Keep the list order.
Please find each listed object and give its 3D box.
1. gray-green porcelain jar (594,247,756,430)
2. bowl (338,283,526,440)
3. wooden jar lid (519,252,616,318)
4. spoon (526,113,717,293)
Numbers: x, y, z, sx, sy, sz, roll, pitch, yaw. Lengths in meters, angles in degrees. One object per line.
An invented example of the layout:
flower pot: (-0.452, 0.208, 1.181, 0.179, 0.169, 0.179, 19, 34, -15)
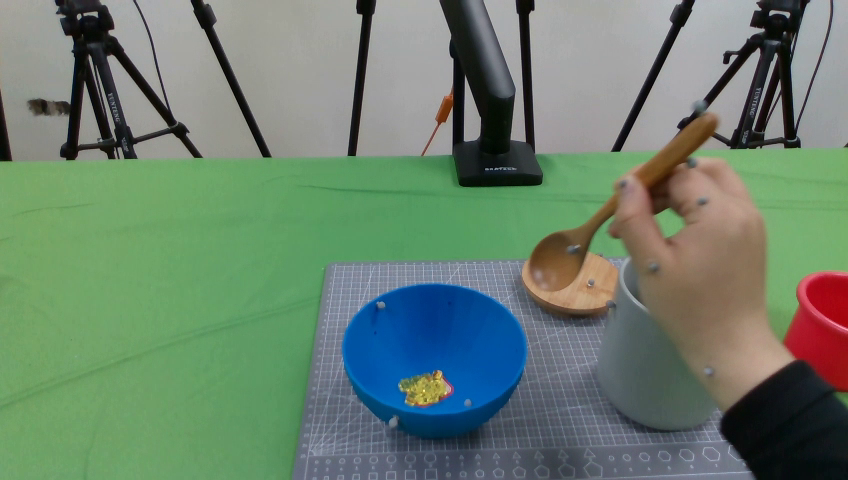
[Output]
gray-green porcelain jar: (0.203, 0.086, 0.508, 0.106, 0.127, 0.105, 0, 35, 0)
bowl: (0.006, 0.113, 0.509, 0.151, 0.077, 0.150, 1, 35, 0)
wooden jar lid: (0.157, 0.048, 0.657, 0.108, 0.021, 0.107, 0, 34, 0)
spoon: (0.114, -0.015, 0.383, 0.022, 0.194, 0.041, -12, 68, -22)
